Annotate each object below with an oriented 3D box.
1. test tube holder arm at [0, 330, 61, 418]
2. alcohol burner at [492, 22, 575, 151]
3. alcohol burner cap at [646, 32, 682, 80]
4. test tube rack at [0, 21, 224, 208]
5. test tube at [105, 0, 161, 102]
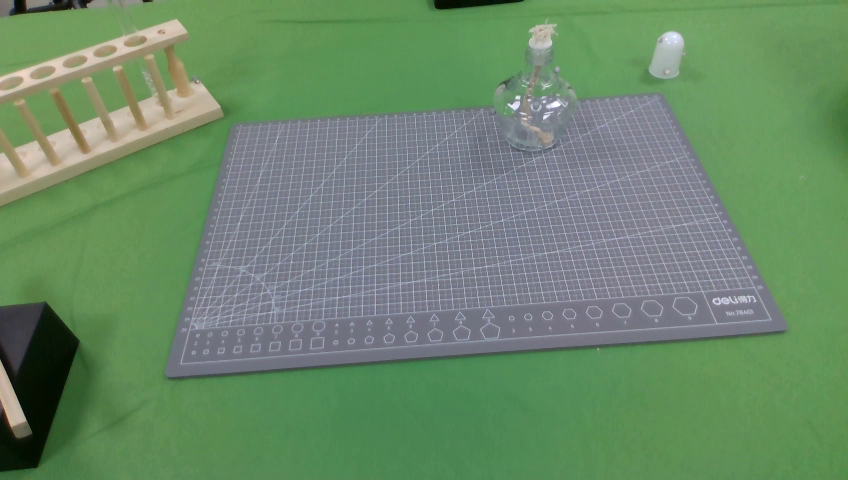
[{"bbox_3d":[-0.288,0.061,0.401,0.177,0.015,0.013,29,58,28],"label":"test tube holder arm"},{"bbox_3d":[0.102,-0.142,0.557,0.078,0.120,0.077,-1,46,2],"label":"alcohol burner"},{"bbox_3d":[0.260,-0.199,0.651,0.034,0.048,0.033,-3,48,3],"label":"alcohol burner cap"},{"bbox_3d":[-0.333,-0.124,0.591,0.242,0.086,0.066,-28,52,-21],"label":"test tube rack"},{"bbox_3d":[-0.287,-0.202,0.591,0.017,0.152,0.017,-4,45,4],"label":"test tube"}]
